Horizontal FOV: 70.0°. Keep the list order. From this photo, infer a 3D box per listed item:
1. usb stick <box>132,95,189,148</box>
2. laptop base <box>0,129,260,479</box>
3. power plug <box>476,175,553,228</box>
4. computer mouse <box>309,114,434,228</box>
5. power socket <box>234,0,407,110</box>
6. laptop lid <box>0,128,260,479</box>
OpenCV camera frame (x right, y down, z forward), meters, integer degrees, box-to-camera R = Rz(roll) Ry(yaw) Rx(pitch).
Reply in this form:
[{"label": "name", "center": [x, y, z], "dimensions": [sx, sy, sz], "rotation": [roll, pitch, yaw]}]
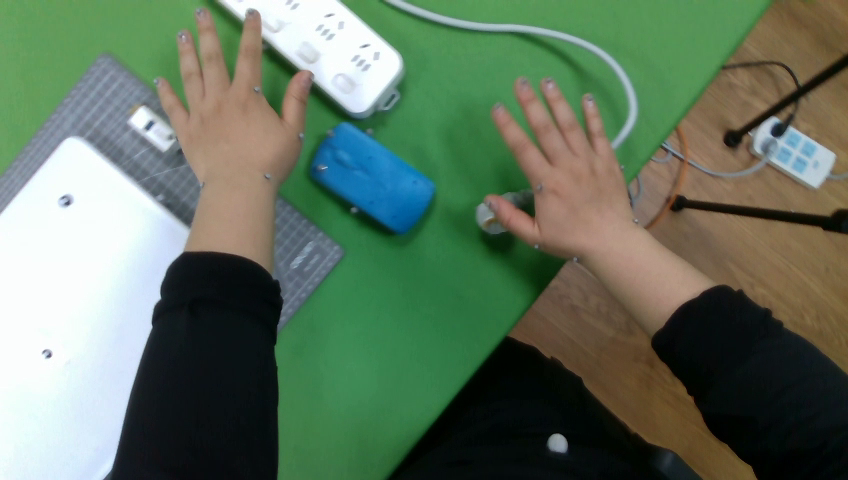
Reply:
[{"label": "usb stick", "center": [-0.253, -0.115, 0.569], "dimensions": [0.059, 0.027, 0.021], "rotation": [41, 90, 1]}, {"label": "laptop base", "center": [-0.355, 0.098, 0.583], "dimensions": [0.236, 0.023, 0.354], "rotation": [41, 91, -5]}, {"label": "power plug", "center": [0.079, -0.041, 0.559], "dimensions": [0.035, 0.052, 0.072], "rotation": [46, 114, -6]}, {"label": "computer mouse", "center": [-0.050, -0.065, 0.570], "dimensions": [0.117, 0.041, 0.063], "rotation": [36, 94, 3]}, {"label": "power socket", "center": [-0.112, -0.213, 0.565], "dimensions": [0.227, 0.032, 0.072], "rotation": [42, 93, -1]}, {"label": "laptop lid", "center": [-0.354, 0.100, 0.571], "dimensions": [0.242, 0.013, 0.356], "rotation": [43, 91, -4]}]
